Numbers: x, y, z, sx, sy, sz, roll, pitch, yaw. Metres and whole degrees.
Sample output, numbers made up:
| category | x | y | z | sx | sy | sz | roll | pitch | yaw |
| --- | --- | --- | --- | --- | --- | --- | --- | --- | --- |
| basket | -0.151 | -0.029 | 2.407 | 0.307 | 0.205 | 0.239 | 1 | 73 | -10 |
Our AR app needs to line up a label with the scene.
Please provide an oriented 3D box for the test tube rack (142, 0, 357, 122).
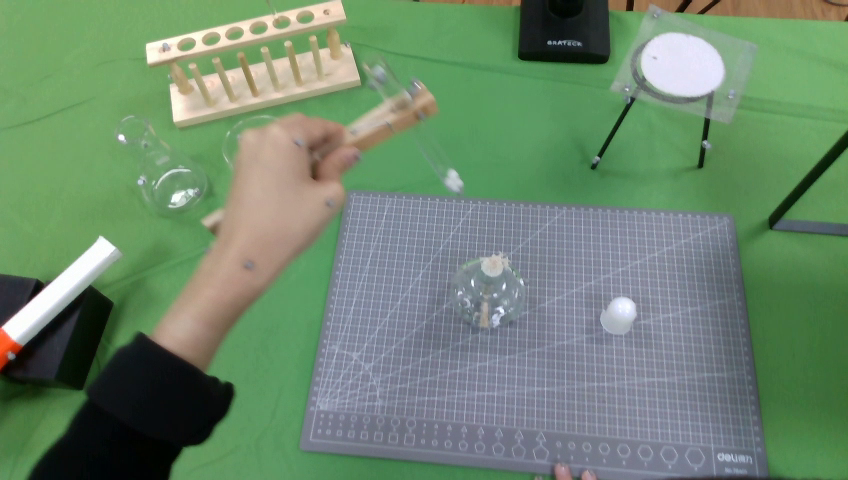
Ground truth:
| category | x | y | z | sx | sy | sz | roll | pitch | yaw |
| --- | --- | --- | --- | --- | --- | --- | --- | --- | --- |
| test tube rack | -0.215 | -0.228 | 0.766 | 0.242 | 0.086 | 0.066 | -15 | 64 | -5 |

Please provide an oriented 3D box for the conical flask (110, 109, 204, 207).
| category | x | y | z | sx | sy | sz | roll | pitch | yaw |
| --- | --- | --- | --- | --- | --- | --- | --- | --- | --- |
| conical flask | -0.306 | -0.096 | 0.685 | 0.075 | 0.123 | 0.074 | -1 | 64 | 2 |

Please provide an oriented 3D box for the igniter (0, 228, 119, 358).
| category | x | y | z | sx | sy | sz | roll | pitch | yaw |
| --- | --- | --- | --- | --- | --- | --- | --- | --- | --- |
| igniter | -0.419 | 0.095 | 0.596 | 0.057 | 0.025 | 0.276 | 30 | 68 | 26 |

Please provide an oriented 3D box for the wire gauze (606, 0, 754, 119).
| category | x | y | z | sx | sy | sz | roll | pitch | yaw |
| --- | --- | --- | --- | --- | --- | --- | --- | --- | --- |
| wire gauze | 0.268 | -0.188 | 0.628 | 0.121 | 0.011 | 0.124 | 25 | 68 | 11 |

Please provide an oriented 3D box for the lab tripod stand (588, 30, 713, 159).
| category | x | y | z | sx | sy | sz | roll | pitch | yaw |
| --- | --- | --- | --- | --- | --- | --- | --- | --- | --- |
| lab tripod stand | 0.263 | -0.157 | 0.688 | 0.148 | 0.132 | 0.147 | 0 | 63 | 0 |

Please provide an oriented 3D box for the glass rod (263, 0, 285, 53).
| category | x | y | z | sx | sy | sz | roll | pitch | yaw |
| --- | --- | --- | --- | --- | --- | --- | --- | --- | --- |
| glass rod | -0.190 | -0.288 | 0.720 | 0.008 | 0.201 | 0.008 | -4 | 57 | 7 |

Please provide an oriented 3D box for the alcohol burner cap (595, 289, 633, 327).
| category | x | y | z | sx | sy | sz | roll | pitch | yaw |
| --- | --- | --- | --- | --- | --- | --- | --- | --- | --- |
| alcohol burner cap | 0.199 | 0.068 | 0.629 | 0.034 | 0.048 | 0.033 | 0 | 64 | 1 |

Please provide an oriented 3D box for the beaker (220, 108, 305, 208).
| category | x | y | z | sx | sy | sz | roll | pitch | yaw |
| --- | --- | --- | --- | --- | --- | --- | --- | --- | --- |
| beaker | -0.180 | -0.086 | 0.689 | 0.074 | 0.101 | 0.083 | 18 | 66 | 11 |

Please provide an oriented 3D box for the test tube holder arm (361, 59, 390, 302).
| category | x | y | z | sx | sy | sz | roll | pitch | yaw |
| --- | --- | --- | --- | --- | --- | --- | --- | --- | --- |
| test tube holder arm | -0.037 | -0.041 | 0.449 | 0.015 | 0.013 | 0.178 | -1 | 98 | -24 |

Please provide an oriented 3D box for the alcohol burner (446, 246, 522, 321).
| category | x | y | z | sx | sy | sz | roll | pitch | yaw |
| --- | --- | --- | --- | --- | --- | --- | --- | --- | --- |
| alcohol burner | 0.061 | 0.038 | 0.609 | 0.078 | 0.120 | 0.077 | 0 | 63 | 0 |

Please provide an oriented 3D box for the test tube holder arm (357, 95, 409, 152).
| category | x | y | z | sx | sy | sz | roll | pitch | yaw |
| --- | --- | --- | --- | --- | --- | --- | --- | --- | --- |
| test tube holder arm | -0.031 | -0.079 | 0.434 | 0.015 | 0.088 | 0.010 | 2 | 73 | -20 |

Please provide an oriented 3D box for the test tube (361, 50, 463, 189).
| category | x | y | z | sx | sy | sz | roll | pitch | yaw |
| --- | --- | --- | --- | --- | --- | --- | --- | --- | --- |
| test tube | -0.004 | -0.082 | 0.447 | 0.017 | 0.152 | 0.017 | -13 | 57 | 21 |
